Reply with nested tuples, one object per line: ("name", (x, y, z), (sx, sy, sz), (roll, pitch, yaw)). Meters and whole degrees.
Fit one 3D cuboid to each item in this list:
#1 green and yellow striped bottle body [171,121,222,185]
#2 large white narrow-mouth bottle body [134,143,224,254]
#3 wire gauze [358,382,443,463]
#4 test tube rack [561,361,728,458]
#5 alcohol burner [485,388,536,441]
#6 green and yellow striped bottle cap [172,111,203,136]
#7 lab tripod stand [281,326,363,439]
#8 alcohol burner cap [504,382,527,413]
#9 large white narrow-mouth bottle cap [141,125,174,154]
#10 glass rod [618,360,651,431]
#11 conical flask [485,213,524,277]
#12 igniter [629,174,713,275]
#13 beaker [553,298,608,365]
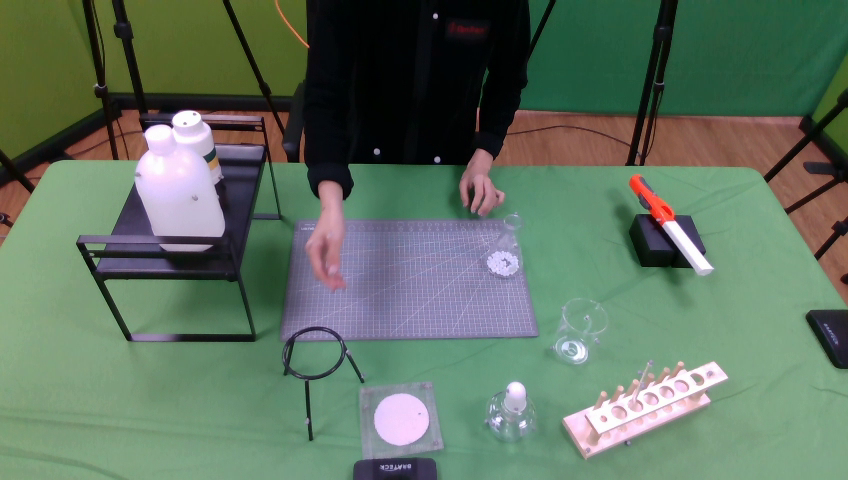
("green and yellow striped bottle body", (-0.375, -0.149, 0.995), (0.063, 0.120, 0.063), (2, 46, -2))
("large white narrow-mouth bottle body", (-0.358, -0.075, 0.875), (0.102, 0.195, 0.101), (1, 48, -1))
("wire gauze", (-0.039, 0.277, 0.937), (0.121, 0.011, 0.124), (-4, 47, -7))
("test tube rack", (0.341, 0.248, 0.940), (0.243, 0.085, 0.066), (-15, 49, -18))
("alcohol burner", (0.131, 0.249, 0.904), (0.078, 0.120, 0.077), (1, 48, -1))
("green and yellow striped bottle cap", (-0.374, -0.185, 0.958), (0.045, 0.020, 0.045), (4, 46, -3))
("lab tripod stand", (-0.166, 0.203, 0.913), (0.148, 0.132, 0.147), (1, 47, -1))
("alcohol burner cap", (0.133, 0.225, 0.877), (0.034, 0.048, 0.033), (-4, 47, 4))
("large white narrow-mouth bottle cap", (-0.356, -0.134, 0.810), (0.038, 0.024, 0.037), (2, 48, -2))
("glass rod", (0.298, 0.226, 0.865), (0.008, 0.201, 0.008), (-1, 48, 2))
("conical flask", (0.157, 0.007, 1.129), (0.075, 0.122, 0.075), (2, 46, -2))
("igniter", (0.481, -0.040, 1.202), (0.057, 0.025, 0.274), (-2, 46, -21))
("beaker", (0.260, 0.154, 1.015), (0.073, 0.101, 0.084), (37, 54, 27))
